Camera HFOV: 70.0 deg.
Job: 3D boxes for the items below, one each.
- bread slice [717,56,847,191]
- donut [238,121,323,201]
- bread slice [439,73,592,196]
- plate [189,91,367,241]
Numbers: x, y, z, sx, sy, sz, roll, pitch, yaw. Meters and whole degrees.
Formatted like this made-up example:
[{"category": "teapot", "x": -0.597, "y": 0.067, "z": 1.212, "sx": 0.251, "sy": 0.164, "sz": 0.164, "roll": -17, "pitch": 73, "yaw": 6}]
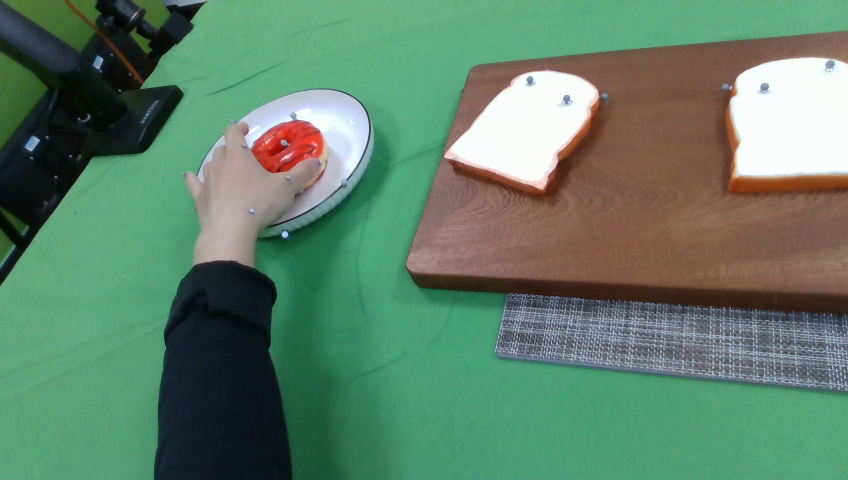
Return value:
[{"category": "bread slice", "x": 0.284, "y": -0.094, "z": 0.473, "sx": 0.104, "sy": 0.019, "sz": 0.130, "roll": -2, "pitch": 55, "yaw": 20}, {"category": "donut", "x": -0.156, "y": -0.085, "z": 0.654, "sx": 0.099, "sy": 0.049, "sz": 0.098, "roll": -12, "pitch": 52, "yaw": 16}, {"category": "bread slice", "x": 0.089, "y": -0.103, "z": 0.557, "sx": 0.106, "sy": 0.018, "sz": 0.134, "roll": 20, "pitch": 65, "yaw": 33}, {"category": "plate", "x": -0.155, "y": -0.079, "z": 0.663, "sx": 0.209, "sy": 0.038, "sz": 0.207, "roll": -11, "pitch": 51, "yaw": 14}]
